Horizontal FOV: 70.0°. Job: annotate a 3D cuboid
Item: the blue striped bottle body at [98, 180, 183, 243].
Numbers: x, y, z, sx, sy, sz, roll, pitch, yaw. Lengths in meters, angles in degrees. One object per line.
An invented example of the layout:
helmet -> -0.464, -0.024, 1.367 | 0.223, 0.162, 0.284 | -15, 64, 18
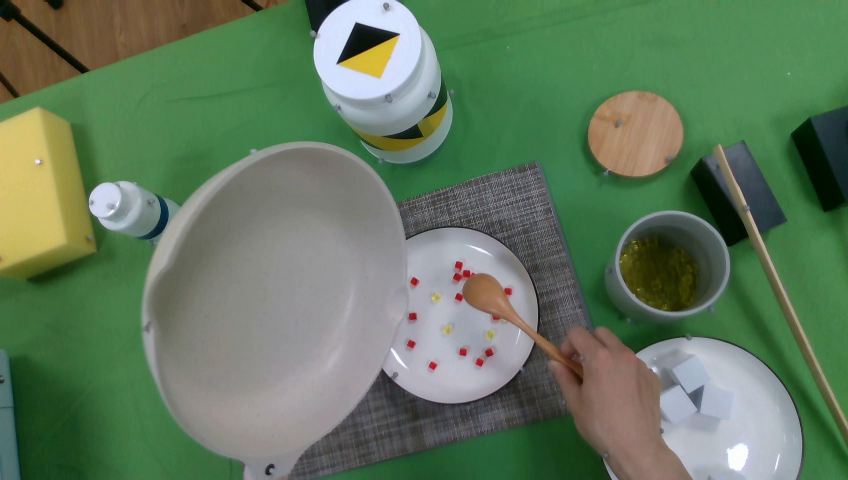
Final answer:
blue striped bottle body -> -0.362, -0.037, 0.767 | 0.063, 0.121, 0.063 | -2, 79, 10

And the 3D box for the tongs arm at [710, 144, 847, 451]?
tongs arm -> 0.396, 0.070, 0.630 | 0.051, 0.026, 0.384 | -21, 87, 3

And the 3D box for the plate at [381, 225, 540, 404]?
plate -> 0.031, 0.086, 0.715 | 0.209, 0.038, 0.208 | -2, 80, 10

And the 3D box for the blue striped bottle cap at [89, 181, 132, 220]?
blue striped bottle cap -> -0.372, -0.048, 0.718 | 0.044, 0.021, 0.044 | -2, 81, 9

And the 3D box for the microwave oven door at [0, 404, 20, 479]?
microwave oven door -> -0.531, 0.362, 0.641 | 0.039, 0.245, 0.354 | -16, 77, 7

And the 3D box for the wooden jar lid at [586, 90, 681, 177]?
wooden jar lid -> 0.251, -0.127, 0.729 | 0.108, 0.021, 0.108 | -2, 81, 10

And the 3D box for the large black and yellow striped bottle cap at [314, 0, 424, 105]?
large black and yellow striped bottle cap -> -0.057, -0.197, 0.625 | 0.115, 0.019, 0.114 | -2, 81, 10

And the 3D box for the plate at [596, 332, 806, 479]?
plate -> 0.291, 0.204, 0.653 | 0.207, 0.039, 0.206 | -2, 79, 10

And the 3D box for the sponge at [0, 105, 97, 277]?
sponge -> -0.541, -0.066, 0.834 | 0.118, 0.061, 0.205 | -21, 77, 5

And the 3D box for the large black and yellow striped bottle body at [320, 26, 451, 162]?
large black and yellow striped bottle body -> -0.043, -0.179, 0.706 | 0.130, 0.185, 0.130 | -2, 78, 10

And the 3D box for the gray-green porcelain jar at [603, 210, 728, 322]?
gray-green porcelain jar -> 0.249, 0.033, 0.645 | 0.105, 0.127, 0.105 | -2, 79, 10

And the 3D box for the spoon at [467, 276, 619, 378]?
spoon -> 0.118, 0.088, 0.629 | 0.041, 0.022, 0.192 | -37, 44, -24

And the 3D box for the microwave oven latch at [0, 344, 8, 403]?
microwave oven latch -> -0.564, 0.174, 0.786 | 0.030, 0.029, 0.079 | -12, 78, 7

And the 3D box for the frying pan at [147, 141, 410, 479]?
frying pan -> -0.138, 0.154, 0.565 | 0.102, 0.309, 0.486 | 1, 83, 36
